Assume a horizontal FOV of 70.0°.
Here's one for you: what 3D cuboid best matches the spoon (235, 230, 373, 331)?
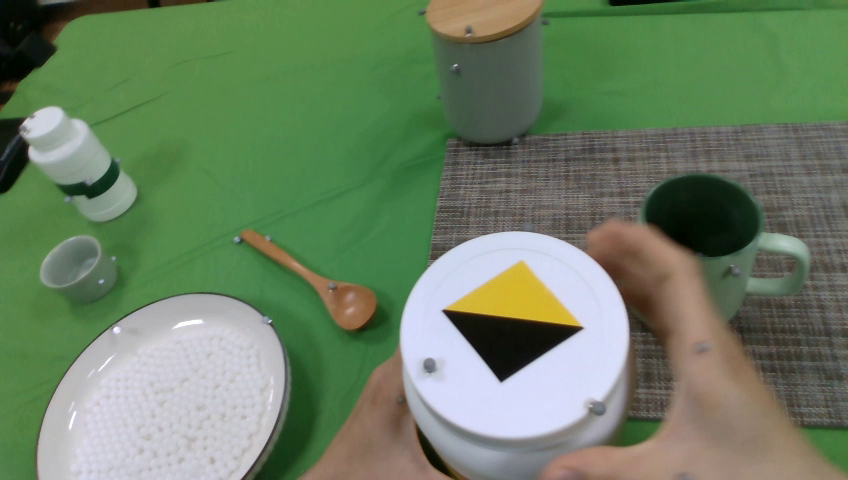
[{"bbox_3d":[-0.118,0.030,0.568,0.192,0.022,0.041,30,81,28],"label":"spoon"}]

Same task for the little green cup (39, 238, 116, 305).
[{"bbox_3d":[-0.342,0.033,0.602,0.061,0.039,0.061,-6,51,8],"label":"little green cup"}]

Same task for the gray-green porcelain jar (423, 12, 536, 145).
[{"bbox_3d":[0.060,-0.169,0.611,0.106,0.128,0.105,-6,49,7],"label":"gray-green porcelain jar"}]

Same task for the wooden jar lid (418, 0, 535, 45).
[{"bbox_3d":[0.049,-0.210,0.564,0.108,0.021,0.107,-8,51,10],"label":"wooden jar lid"}]

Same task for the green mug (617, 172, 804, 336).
[{"bbox_3d":[0.212,0.015,0.454,0.125,0.106,0.092,7,55,17],"label":"green mug"}]

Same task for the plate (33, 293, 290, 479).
[{"bbox_3d":[-0.207,0.140,0.496,0.209,0.038,0.207,-5,53,8],"label":"plate"}]

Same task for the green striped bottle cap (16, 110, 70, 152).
[{"bbox_3d":[-0.374,-0.107,0.596,0.044,0.020,0.044,-4,55,6],"label":"green striped bottle cap"}]

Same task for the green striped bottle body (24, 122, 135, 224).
[{"bbox_3d":[-0.365,-0.076,0.636,0.063,0.120,0.062,-6,53,8],"label":"green striped bottle body"}]

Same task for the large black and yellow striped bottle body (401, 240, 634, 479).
[{"bbox_3d":[0.059,0.092,0.380,0.130,0.186,0.129,-5,57,9],"label":"large black and yellow striped bottle body"}]

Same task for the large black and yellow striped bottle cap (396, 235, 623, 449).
[{"bbox_3d":[0.042,0.048,0.311,0.115,0.019,0.114,-5,55,8],"label":"large black and yellow striped bottle cap"}]
